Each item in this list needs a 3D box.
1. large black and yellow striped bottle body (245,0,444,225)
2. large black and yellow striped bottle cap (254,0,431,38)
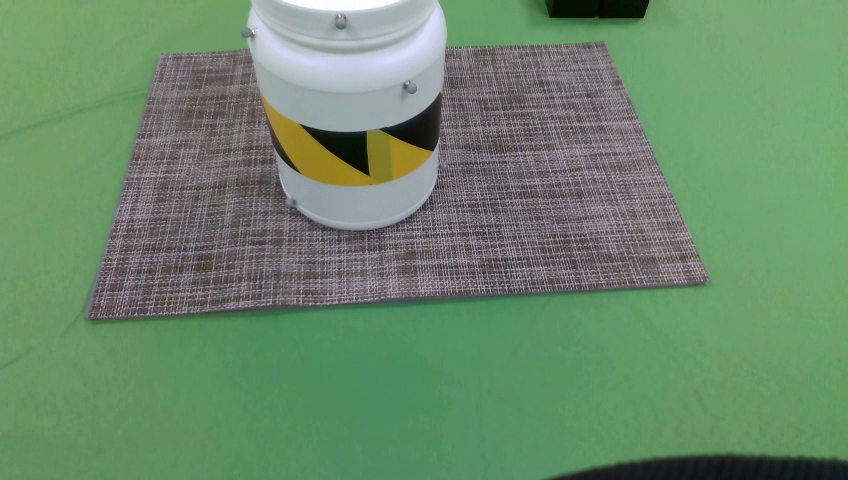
[{"bbox_3d":[-0.053,-0.114,0.434,0.131,0.185,0.129,2,53,-2],"label":"large black and yellow striped bottle body"},{"bbox_3d":[-0.049,-0.165,0.367,0.115,0.019,0.114,1,55,-1],"label":"large black and yellow striped bottle cap"}]
